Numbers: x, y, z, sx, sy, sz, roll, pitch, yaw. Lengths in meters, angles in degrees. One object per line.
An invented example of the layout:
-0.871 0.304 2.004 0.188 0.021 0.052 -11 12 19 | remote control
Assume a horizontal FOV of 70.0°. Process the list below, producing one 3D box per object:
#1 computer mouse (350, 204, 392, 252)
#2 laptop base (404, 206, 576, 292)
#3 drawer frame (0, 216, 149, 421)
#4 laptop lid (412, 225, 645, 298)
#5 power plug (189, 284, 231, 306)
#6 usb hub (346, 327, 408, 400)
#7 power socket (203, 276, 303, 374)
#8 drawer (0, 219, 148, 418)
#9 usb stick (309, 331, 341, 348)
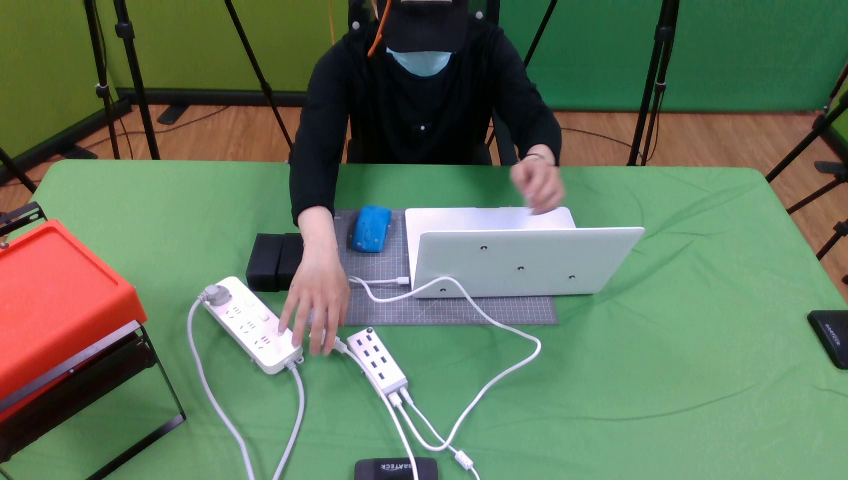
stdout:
-0.104 -0.027 1.202 0.063 0.041 0.116 11 51 3 | computer mouse
0.143 0.018 1.196 0.355 0.023 0.234 -1 43 -6 | laptop base
-0.510 0.093 0.780 0.201 0.083 0.213 31 52 23 | drawer frame
0.161 0.042 1.012 0.357 0.242 0.013 0 59 -7 | laptop lid
-0.368 0.100 1.037 0.072 0.053 0.035 -23 53 -27 | power plug
-0.078 0.202 0.998 0.049 0.025 0.124 -23 52 -24 | usb hub
-0.296 0.141 1.034 0.072 0.033 0.225 -35 58 -30 | power socket
-0.509 0.093 0.783 0.193 0.073 0.211 32 53 24 | drawer
-0.172 0.166 1.022 0.059 0.027 0.021 8 82 26 | usb stick
